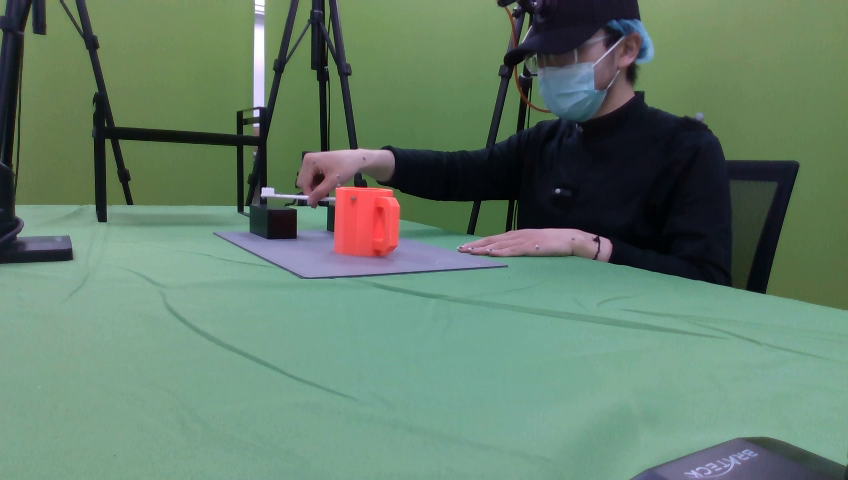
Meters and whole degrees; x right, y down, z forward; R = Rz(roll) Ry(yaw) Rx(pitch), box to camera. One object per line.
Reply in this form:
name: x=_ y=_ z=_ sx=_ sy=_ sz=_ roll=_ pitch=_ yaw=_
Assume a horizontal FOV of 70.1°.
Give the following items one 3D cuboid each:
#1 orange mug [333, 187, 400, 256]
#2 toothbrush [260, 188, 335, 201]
orange mug: x=-0.080 y=-0.029 z=0.888 sx=0.084 sy=0.100 sz=0.125 roll=-3 pitch=5 yaw=-40
toothbrush: x=-0.198 y=-0.078 z=1.066 sx=0.183 sy=0.016 sz=0.014 roll=2 pitch=-5 yaw=-33
